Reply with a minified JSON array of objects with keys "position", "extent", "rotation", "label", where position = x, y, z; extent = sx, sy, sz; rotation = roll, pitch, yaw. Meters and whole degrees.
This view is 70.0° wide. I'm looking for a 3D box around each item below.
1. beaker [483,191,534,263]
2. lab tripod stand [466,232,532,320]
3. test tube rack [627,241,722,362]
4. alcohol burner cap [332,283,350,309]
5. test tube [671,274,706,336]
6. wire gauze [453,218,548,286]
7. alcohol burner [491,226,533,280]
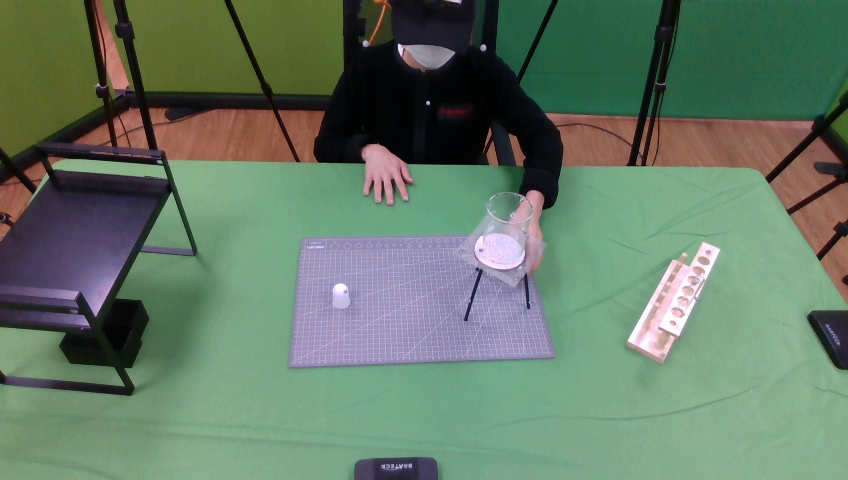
[{"position":[0.135,-0.020,0.983],"extent":[0.073,0.101,0.084],"rotation":[28,50,23],"label":"beaker"},{"position":[0.125,0.059,1.065],"extent":[0.148,0.132,0.147],"rotation":[1,45,0],"label":"lab tripod stand"},{"position":[0.452,0.098,1.087],"extent":[0.066,0.085,0.242],"rotation":[28,51,22],"label":"test tube rack"},{"position":[-0.148,0.096,1.075],"extent":[0.034,0.048,0.033],"rotation":[3,46,-3],"label":"alcohol burner cap"},{"position":[0.429,0.112,1.004],"extent":[0.017,0.151,0.017],"rotation":[4,43,-4],"label":"test tube"},{"position":[0.129,0.014,1.019],"extent":[0.124,0.011,0.121],"rotation":[26,47,25],"label":"wire gauze"},{"position":[0.164,0.018,1.121],"extent":[0.078,0.120,0.077],"rotation":[-1,48,1],"label":"alcohol burner"}]
